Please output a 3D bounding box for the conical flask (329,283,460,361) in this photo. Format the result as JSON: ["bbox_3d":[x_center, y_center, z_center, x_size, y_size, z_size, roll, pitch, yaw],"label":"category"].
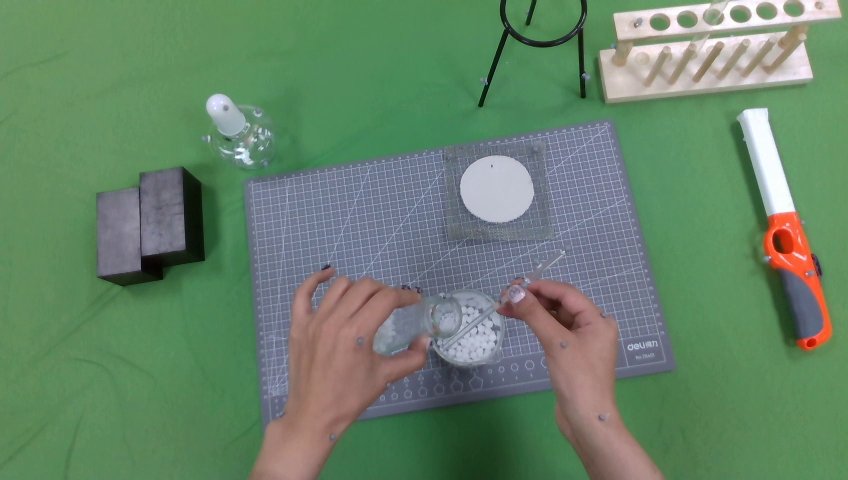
[{"bbox_3d":[-0.023,0.070,0.544,0.121,0.076,0.075,-12,68,45],"label":"conical flask"}]

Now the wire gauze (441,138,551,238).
[{"bbox_3d":[0.084,-0.060,0.708,0.125,0.011,0.121,-1,75,0],"label":"wire gauze"}]

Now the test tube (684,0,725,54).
[{"bbox_3d":[0.309,-0.247,0.655,0.017,0.151,0.017,-1,75,6],"label":"test tube"}]

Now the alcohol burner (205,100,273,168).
[{"bbox_3d":[-0.217,-0.129,0.691,0.078,0.120,0.077,-1,76,5],"label":"alcohol burner"}]

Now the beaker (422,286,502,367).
[{"bbox_3d":[0.043,0.095,0.624,0.083,0.101,0.074,44,82,13],"label":"beaker"}]

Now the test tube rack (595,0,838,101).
[{"bbox_3d":[0.331,-0.222,0.699,0.242,0.085,0.066,-6,74,2],"label":"test tube rack"}]

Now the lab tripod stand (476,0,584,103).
[{"bbox_3d":[0.122,-0.223,0.686,0.148,0.132,0.147,-1,77,4],"label":"lab tripod stand"}]

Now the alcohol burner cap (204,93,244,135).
[{"bbox_3d":[-0.219,-0.140,0.657,0.034,0.048,0.033,-1,69,3],"label":"alcohol burner cap"}]

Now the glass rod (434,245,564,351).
[{"bbox_3d":[0.059,0.057,0.540,0.008,0.200,0.008,18,50,-23],"label":"glass rod"}]

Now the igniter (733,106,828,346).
[{"bbox_3d":[0.395,-0.021,0.673,0.057,0.025,0.275,-5,75,-8],"label":"igniter"}]
